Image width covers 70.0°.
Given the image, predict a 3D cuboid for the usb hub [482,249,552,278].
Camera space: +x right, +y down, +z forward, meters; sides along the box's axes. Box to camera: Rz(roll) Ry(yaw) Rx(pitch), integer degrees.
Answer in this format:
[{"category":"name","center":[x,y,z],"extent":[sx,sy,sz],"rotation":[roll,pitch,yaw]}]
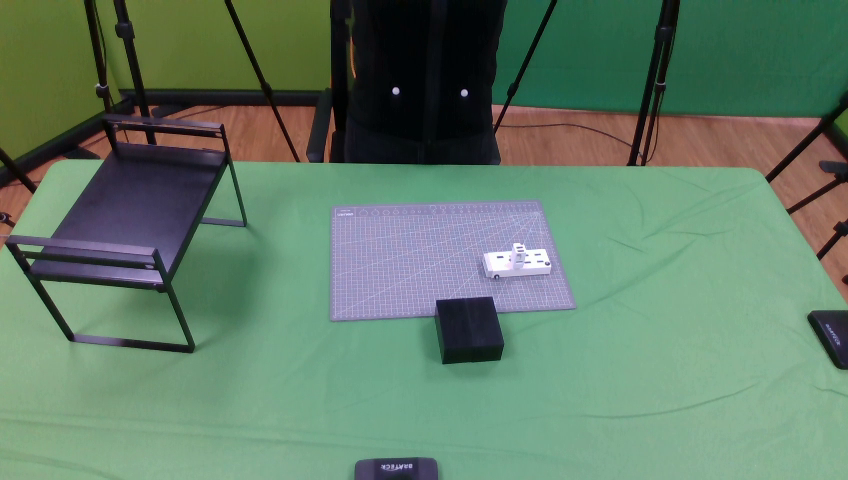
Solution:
[{"category":"usb hub","center":[0.178,0.045,1.160],"extent":[0.125,0.025,0.049],"rotation":[-4,47,-7]}]

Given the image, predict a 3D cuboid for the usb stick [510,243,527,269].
[{"category":"usb stick","center":[0.175,0.034,1.125],"extent":[0.021,0.059,0.027],"rotation":[-5,49,-10]}]
